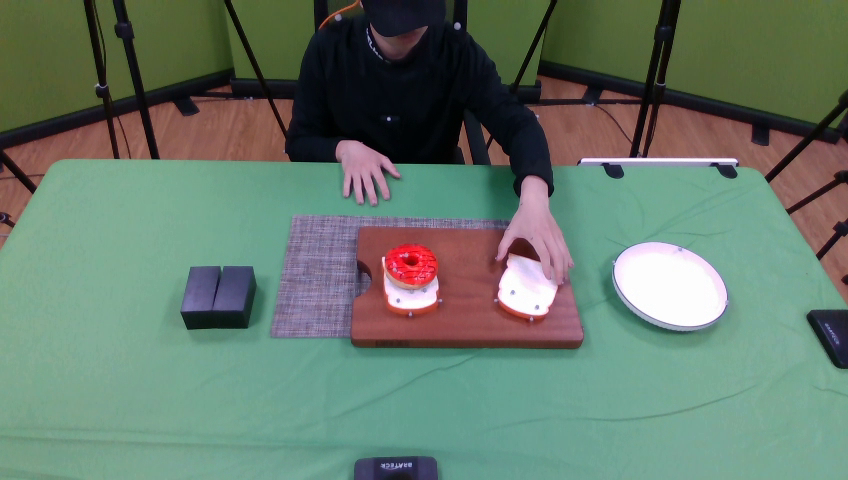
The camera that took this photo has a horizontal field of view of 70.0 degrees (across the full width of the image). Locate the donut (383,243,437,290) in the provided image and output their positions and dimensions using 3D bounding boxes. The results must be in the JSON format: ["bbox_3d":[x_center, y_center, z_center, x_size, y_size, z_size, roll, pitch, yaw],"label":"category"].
[{"bbox_3d":[-0.025,0.047,1.076,0.099,0.048,0.098,4,45,-4],"label":"donut"}]

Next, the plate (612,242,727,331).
[{"bbox_3d":[0.455,0.090,1.138,0.209,0.038,0.208,3,45,-2],"label":"plate"}]

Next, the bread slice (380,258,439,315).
[{"bbox_3d":[-0.024,0.079,1.087,0.105,0.019,0.130,-2,45,-5],"label":"bread slice"}]

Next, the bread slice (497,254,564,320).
[{"bbox_3d":[0.189,0.087,1.095,0.107,0.018,0.134,15,46,10],"label":"bread slice"}]
